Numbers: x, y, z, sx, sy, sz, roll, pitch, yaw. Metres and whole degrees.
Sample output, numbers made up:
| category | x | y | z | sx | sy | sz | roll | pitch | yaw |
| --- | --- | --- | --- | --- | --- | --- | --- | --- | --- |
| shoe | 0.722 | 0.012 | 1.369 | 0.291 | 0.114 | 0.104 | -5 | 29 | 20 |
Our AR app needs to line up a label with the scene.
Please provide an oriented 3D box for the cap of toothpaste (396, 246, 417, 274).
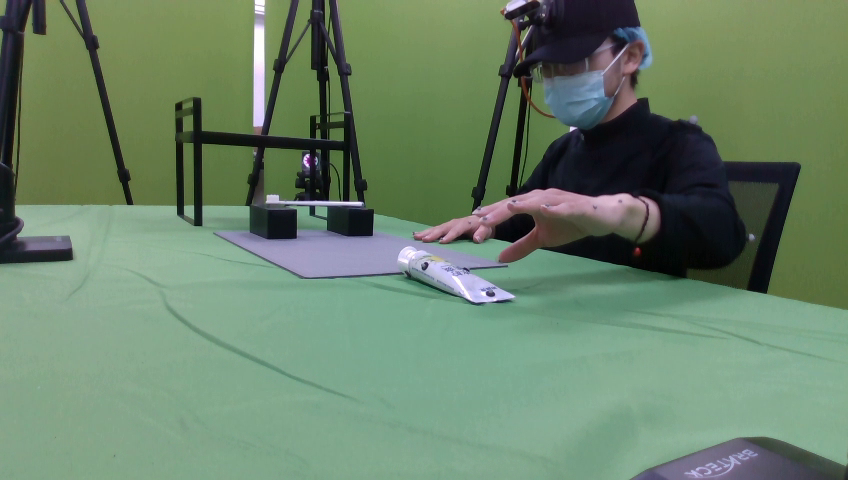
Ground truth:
| category | x | y | z | sx | sy | sz | roll | pitch | yaw |
| --- | --- | --- | --- | --- | --- | --- | --- | --- | --- |
| cap of toothpaste | -0.018 | 0.025 | 0.738 | 0.037 | 0.037 | 0.011 | -4 | 11 | -41 |

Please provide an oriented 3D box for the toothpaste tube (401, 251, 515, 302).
| category | x | y | z | sx | sy | sz | roll | pitch | yaw |
| --- | --- | --- | --- | --- | --- | --- | --- | --- | --- |
| toothpaste tube | 0.026 | 0.042 | 0.673 | 0.055 | 0.034 | 0.164 | -10 | 17 | -34 |

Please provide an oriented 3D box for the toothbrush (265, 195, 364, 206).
| category | x | y | z | sx | sy | sz | roll | pitch | yaw |
| --- | --- | --- | --- | --- | --- | --- | --- | --- | --- |
| toothbrush | -0.194 | -0.069 | 1.089 | 0.183 | 0.016 | 0.014 | 0 | -6 | -27 |
